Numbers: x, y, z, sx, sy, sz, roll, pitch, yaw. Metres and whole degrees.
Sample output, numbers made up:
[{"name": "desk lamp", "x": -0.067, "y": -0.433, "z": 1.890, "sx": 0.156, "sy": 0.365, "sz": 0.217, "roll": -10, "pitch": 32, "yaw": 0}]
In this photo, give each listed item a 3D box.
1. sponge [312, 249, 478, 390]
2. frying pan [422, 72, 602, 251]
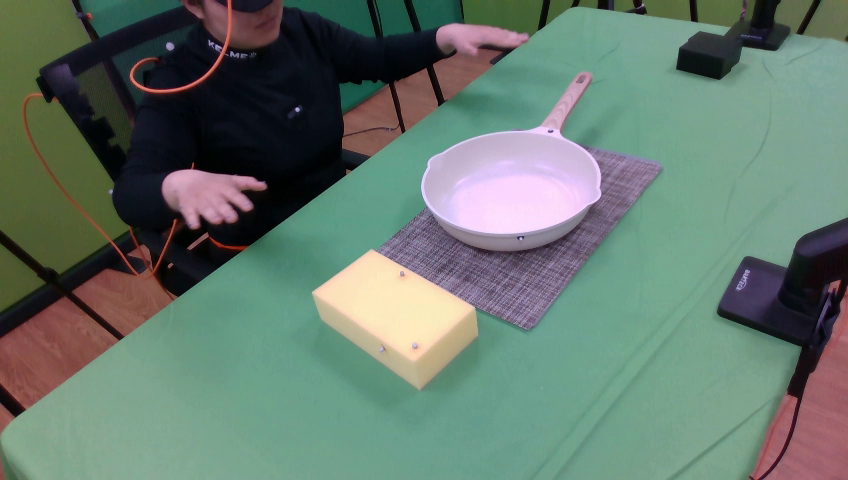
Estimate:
[{"name": "sponge", "x": -0.042, "y": 0.103, "z": 0.843, "sx": 0.205, "sy": 0.061, "sz": 0.118, "roll": 27, "pitch": 52, "yaw": 35}, {"name": "frying pan", "x": 0.199, "y": -0.155, "z": 1.062, "sx": 0.304, "sy": 0.103, "sz": 0.488, "roll": 19, "pitch": 56, "yaw": 28}]
